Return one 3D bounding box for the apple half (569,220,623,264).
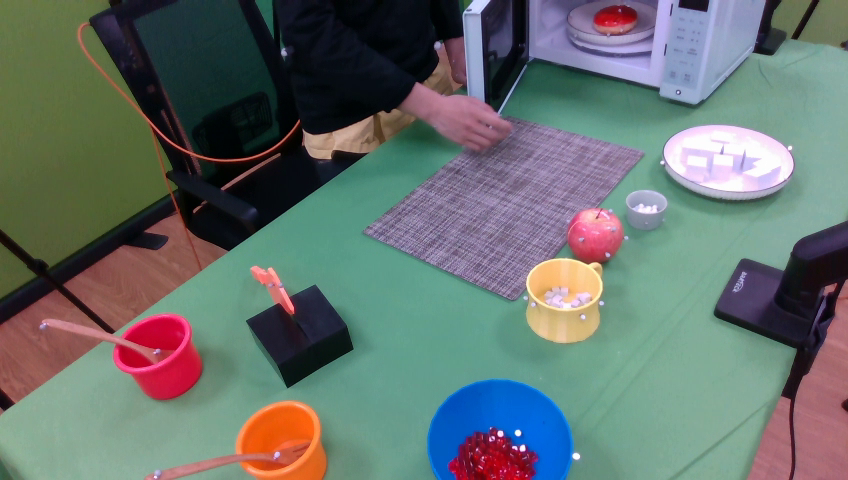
[{"bbox_3d":[0.251,0.010,0.884,0.081,0.081,0.032,3,37,12],"label":"apple half"}]

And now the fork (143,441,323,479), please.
[{"bbox_3d":[-0.189,0.231,0.631,0.028,0.018,0.209,36,13,37],"label":"fork"}]

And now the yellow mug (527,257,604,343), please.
[{"bbox_3d":[0.201,0.072,0.825,0.131,0.064,0.099,-32,46,-27],"label":"yellow mug"}]

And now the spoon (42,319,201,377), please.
[{"bbox_3d":[-0.385,0.135,0.779,0.195,0.021,0.041,29,37,-26],"label":"spoon"}]

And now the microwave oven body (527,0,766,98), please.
[{"bbox_3d":[0.472,-0.513,1.317,0.438,0.261,0.327,25,51,34],"label":"microwave oven body"}]

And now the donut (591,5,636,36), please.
[{"bbox_3d":[0.426,-0.497,1.365,0.099,0.048,0.098,-2,42,3],"label":"donut"}]

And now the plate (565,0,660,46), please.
[{"bbox_3d":[0.427,-0.489,1.377,0.209,0.038,0.208,-5,40,4],"label":"plate"}]

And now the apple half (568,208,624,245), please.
[{"bbox_3d":[0.259,-0.014,0.914,0.080,0.075,0.053,0,36,15],"label":"apple half"}]

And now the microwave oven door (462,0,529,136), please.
[{"bbox_3d":[0.155,-0.410,1.236,0.039,0.245,0.355,10,43,20],"label":"microwave oven door"}]

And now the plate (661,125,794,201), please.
[{"bbox_3d":[0.513,-0.128,1.035,0.207,0.039,0.206,-4,40,4],"label":"plate"}]

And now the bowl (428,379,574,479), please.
[{"bbox_3d":[0.082,0.233,0.644,0.151,0.077,0.150,-4,39,4],"label":"bowl"}]

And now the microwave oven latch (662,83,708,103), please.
[{"bbox_3d":[0.517,-0.296,1.204,0.078,0.029,0.030,27,52,35],"label":"microwave oven latch"}]

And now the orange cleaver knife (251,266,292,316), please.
[{"bbox_3d":[-0.221,0.071,0.873,0.012,0.077,0.210,-25,11,-21],"label":"orange cleaver knife"}]

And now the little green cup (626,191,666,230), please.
[{"bbox_3d":[0.352,-0.046,0.963,0.061,0.039,0.061,-4,40,4],"label":"little green cup"}]
